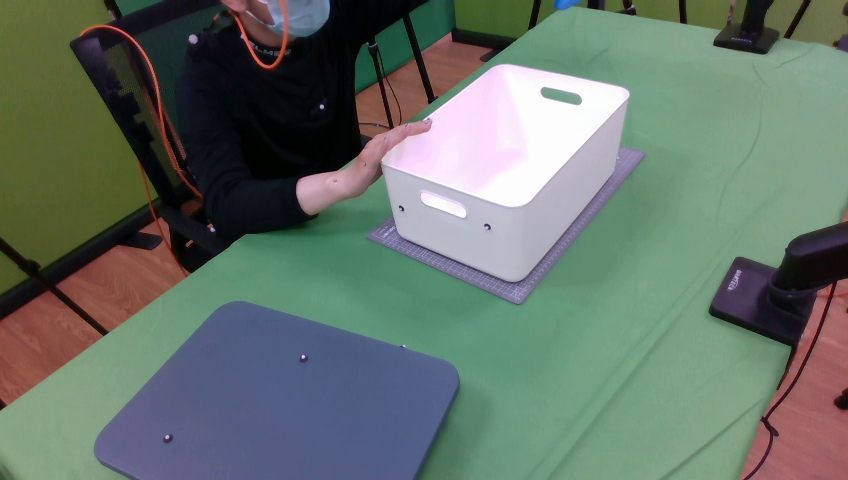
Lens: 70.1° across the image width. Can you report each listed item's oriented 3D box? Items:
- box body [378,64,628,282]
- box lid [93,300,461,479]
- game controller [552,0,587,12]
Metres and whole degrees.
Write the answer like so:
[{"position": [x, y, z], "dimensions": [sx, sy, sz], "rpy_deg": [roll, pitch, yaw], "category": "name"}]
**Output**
[{"position": [0.137, -0.121, 0.978], "dimensions": [0.252, 0.161, 0.365], "rpy_deg": [22, 48, 30], "category": "box body"}, {"position": [-0.164, 0.200, 0.701], "dimensions": [0.369, 0.015, 0.263], "rpy_deg": [13, 44, 21], "category": "box lid"}, {"position": [0.274, -0.433, 1.000], "dimensions": [0.096, 0.052, 0.155], "rpy_deg": [2, 38, 33], "category": "game controller"}]
